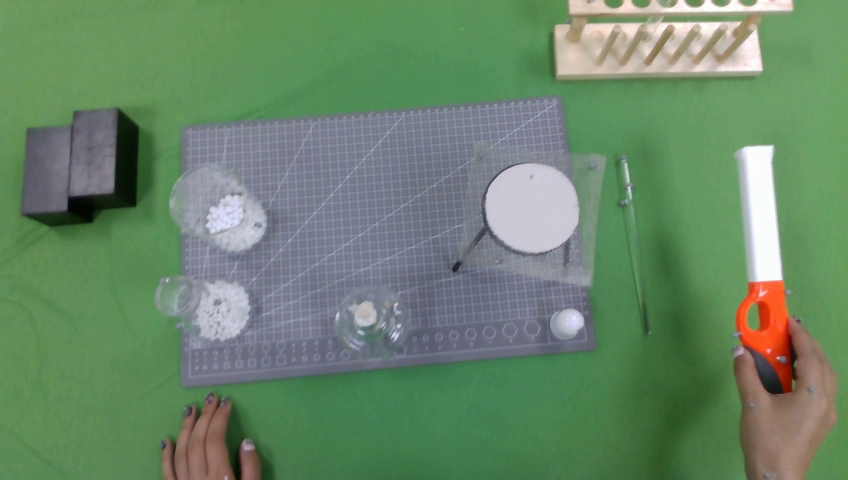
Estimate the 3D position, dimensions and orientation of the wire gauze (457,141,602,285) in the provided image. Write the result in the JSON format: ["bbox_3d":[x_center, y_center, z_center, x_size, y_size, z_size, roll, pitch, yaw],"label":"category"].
[{"bbox_3d":[0.098,-0.028,0.554,0.125,0.011,0.121,9,79,3],"label":"wire gauze"}]

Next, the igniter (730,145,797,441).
[{"bbox_3d":[0.318,0.048,0.572,0.057,0.025,0.276,-3,87,-4],"label":"igniter"}]

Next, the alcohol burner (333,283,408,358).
[{"bbox_3d":[-0.056,0.079,0.611,0.078,0.119,0.077,-1,77,3],"label":"alcohol burner"}]

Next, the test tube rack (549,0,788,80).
[{"bbox_3d":[0.274,-0.237,0.696,0.242,0.085,0.066,-1,77,0],"label":"test tube rack"}]

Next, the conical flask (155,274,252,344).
[{"bbox_3d":[-0.226,0.063,0.611,0.075,0.122,0.075,0,77,0],"label":"conical flask"}]

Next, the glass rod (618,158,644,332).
[{"bbox_3d":[0.233,0.003,0.683,0.008,0.008,0.199,-4,80,-1],"label":"glass rod"}]

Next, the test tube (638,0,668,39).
[{"bbox_3d":[0.256,-0.262,0.651,0.017,0.151,0.017,-1,77,3],"label":"test tube"}]

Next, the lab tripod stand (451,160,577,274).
[{"bbox_3d":[0.095,-0.014,0.620,0.148,0.132,0.147,0,79,1],"label":"lab tripod stand"}]

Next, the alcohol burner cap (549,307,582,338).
[{"bbox_3d":[0.153,0.086,0.645,0.034,0.048,0.033,0,76,0],"label":"alcohol burner cap"}]

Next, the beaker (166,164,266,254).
[{"bbox_3d":[-0.212,-0.027,0.642,0.084,0.100,0.074,31,79,7],"label":"beaker"}]
